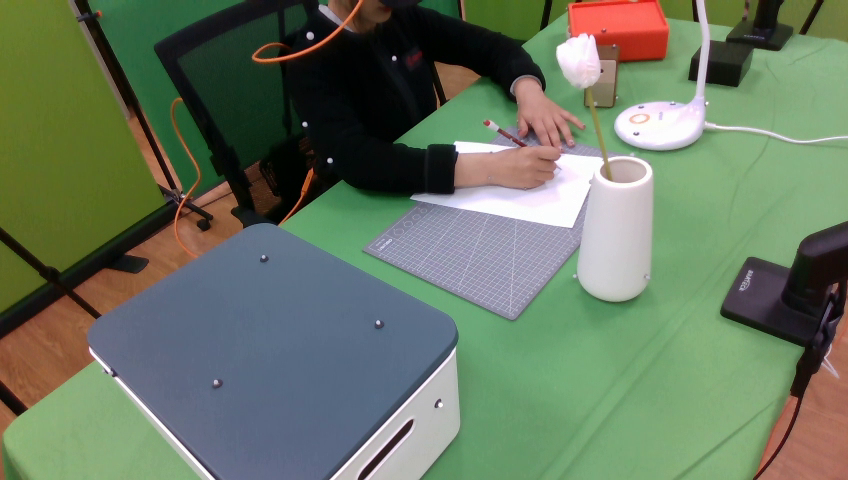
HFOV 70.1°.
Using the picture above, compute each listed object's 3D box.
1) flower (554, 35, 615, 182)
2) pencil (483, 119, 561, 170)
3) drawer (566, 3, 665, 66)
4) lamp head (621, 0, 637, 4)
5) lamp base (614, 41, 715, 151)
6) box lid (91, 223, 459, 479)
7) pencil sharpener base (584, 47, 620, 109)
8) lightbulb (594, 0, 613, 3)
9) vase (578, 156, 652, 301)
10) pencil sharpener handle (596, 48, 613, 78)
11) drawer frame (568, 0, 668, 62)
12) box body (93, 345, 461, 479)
[{"bbox_3d":[0.237,-0.083,0.774,0.044,0.363,0.038,-22,26,7],"label":"flower"},{"bbox_3d":[0.175,-0.163,1.051,0.196,0.012,0.012,24,27,-32],"label":"pencil"},{"bbox_3d":[0.447,-0.493,1.440,0.211,0.073,0.194,0,40,10],"label":"drawer"},{"bbox_3d":[0.319,-0.453,0.962,0.113,0.123,0.112,20,33,-13],"label":"lamp head"},{"bbox_3d":[0.449,-0.277,1.106,0.179,0.181,0.160,1,41,9],"label":"lamp base"},{"bbox_3d":[-0.174,0.103,0.667,0.368,0.015,0.264,24,48,35],"label":"box lid"},{"bbox_3d":[0.367,-0.336,1.249,0.061,0.107,0.076,6,42,19],"label":"pencil sharpener base"},{"bbox_3d":[0.305,-0.437,0.977,0.060,0.107,0.059,12,43,-11],"label":"lightbulb"},{"bbox_3d":[0.261,-0.011,0.812,0.098,0.201,0.097,-4,40,4],"label":"vase"},{"bbox_3d":[0.382,-0.378,1.277,0.036,0.068,0.030,4,41,21],"label":"pencil sharpener handle"},{"bbox_3d":[0.450,-0.496,1.441,0.213,0.083,0.201,-1,40,9],"label":"drawer frame"},{"bbox_3d":[-0.162,0.170,0.708,0.361,0.161,0.255,25,50,34],"label":"box body"}]
